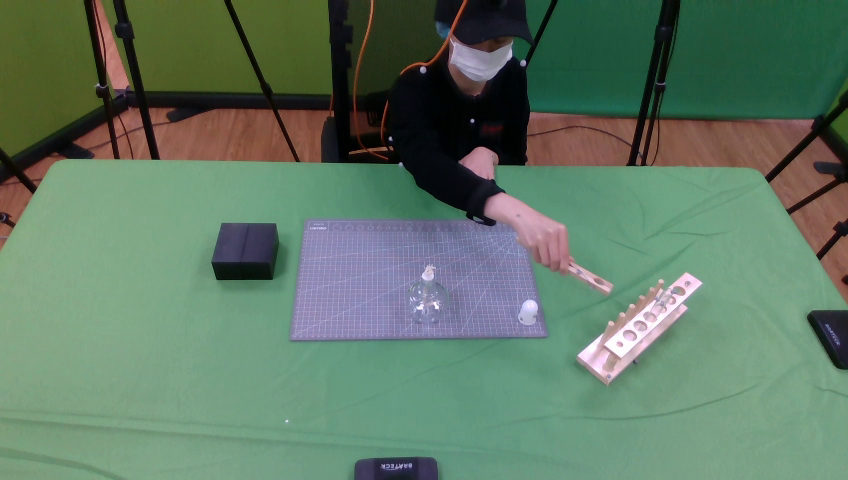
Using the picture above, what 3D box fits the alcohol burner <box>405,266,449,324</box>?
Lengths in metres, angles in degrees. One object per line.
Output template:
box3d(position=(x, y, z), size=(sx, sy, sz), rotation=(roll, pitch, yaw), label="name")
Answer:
box3d(position=(0.005, 0.089, 1.043), size=(0.078, 0.120, 0.077), rotation=(1, 44, -1), label="alcohol burner")

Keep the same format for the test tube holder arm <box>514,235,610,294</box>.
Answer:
box3d(position=(0.227, 0.038, 1.005), size=(0.177, 0.015, 0.013), rotation=(30, 62, 22), label="test tube holder arm")

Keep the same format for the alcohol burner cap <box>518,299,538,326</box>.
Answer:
box3d(position=(0.186, 0.126, 1.072), size=(0.034, 0.048, 0.033), rotation=(1, 45, -1), label="alcohol burner cap")

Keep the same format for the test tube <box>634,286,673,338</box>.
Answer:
box3d(position=(0.374, 0.123, 0.993), size=(0.017, 0.151, 0.017), rotation=(2, 52, -2), label="test tube")

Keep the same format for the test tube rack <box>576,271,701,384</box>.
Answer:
box3d(position=(0.373, 0.138, 1.047), size=(0.242, 0.085, 0.066), rotation=(-31, 56, -29), label="test tube rack")

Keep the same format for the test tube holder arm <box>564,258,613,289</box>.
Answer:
box3d(position=(0.266, 0.055, 0.990), size=(0.087, 0.015, 0.010), rotation=(30, 62, 22), label="test tube holder arm")
